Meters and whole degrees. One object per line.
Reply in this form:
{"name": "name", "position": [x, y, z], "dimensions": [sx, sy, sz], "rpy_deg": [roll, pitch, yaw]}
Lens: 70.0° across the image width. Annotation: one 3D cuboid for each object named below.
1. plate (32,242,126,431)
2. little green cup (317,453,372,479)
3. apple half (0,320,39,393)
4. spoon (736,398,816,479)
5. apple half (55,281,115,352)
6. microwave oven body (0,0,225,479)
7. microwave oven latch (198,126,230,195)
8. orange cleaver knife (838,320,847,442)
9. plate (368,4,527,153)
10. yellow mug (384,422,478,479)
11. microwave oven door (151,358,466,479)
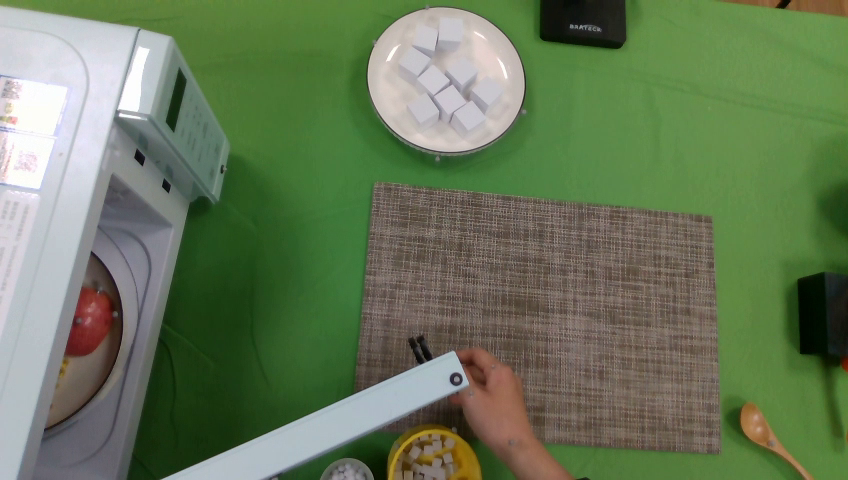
{"name": "plate", "position": [-0.409, 0.092, 0.616], "dimensions": [0.209, 0.038, 0.208], "rpy_deg": [2, 77, -6]}
{"name": "little green cup", "position": [-0.087, 0.267, 0.672], "dimensions": [0.061, 0.039, 0.061], "rpy_deg": [1, 76, -5]}
{"name": "apple half", "position": [-0.428, 0.112, 0.588], "dimensions": [0.081, 0.053, 0.074], "rpy_deg": [21, 87, -14]}
{"name": "spoon", "position": [0.446, 0.271, 0.736], "dimensions": [0.193, 0.022, 0.041], "rpy_deg": [47, 58, 6]}
{"name": "apple half", "position": [-0.363, 0.077, 0.618], "dimensions": [0.081, 0.033, 0.081], "rpy_deg": [1, 76, -2]}
{"name": "microwave oven body", "position": [-0.413, 0.029, 0.575], "dimensions": [0.326, 0.261, 0.439], "rpy_deg": [9, 77, -4]}
{"name": "microwave oven latch", "position": [-0.253, -0.096, 0.720], "dimensions": [0.030, 0.029, 0.079], "rpy_deg": [10, 77, -4]}
{"name": "orange cleaver knife", "position": [0.538, 0.143, 0.745], "dimensions": [0.012, 0.077, 0.212], "rpy_deg": [7, 100, 0]}
{"name": "plate", "position": [0.030, -0.209, 0.796], "dimensions": [0.208, 0.039, 0.206], "rpy_deg": [1, 77, -6]}
{"name": "yellow mug", "position": [0.002, 0.271, 0.668], "dimensions": [0.100, 0.064, 0.130], "rpy_deg": [14, 78, 0]}
{"name": "microwave oven door", "position": [-0.143, 0.192, 0.562], "dimensions": [0.356, 0.244, 0.039], "rpy_deg": [-22, 79, -11]}
